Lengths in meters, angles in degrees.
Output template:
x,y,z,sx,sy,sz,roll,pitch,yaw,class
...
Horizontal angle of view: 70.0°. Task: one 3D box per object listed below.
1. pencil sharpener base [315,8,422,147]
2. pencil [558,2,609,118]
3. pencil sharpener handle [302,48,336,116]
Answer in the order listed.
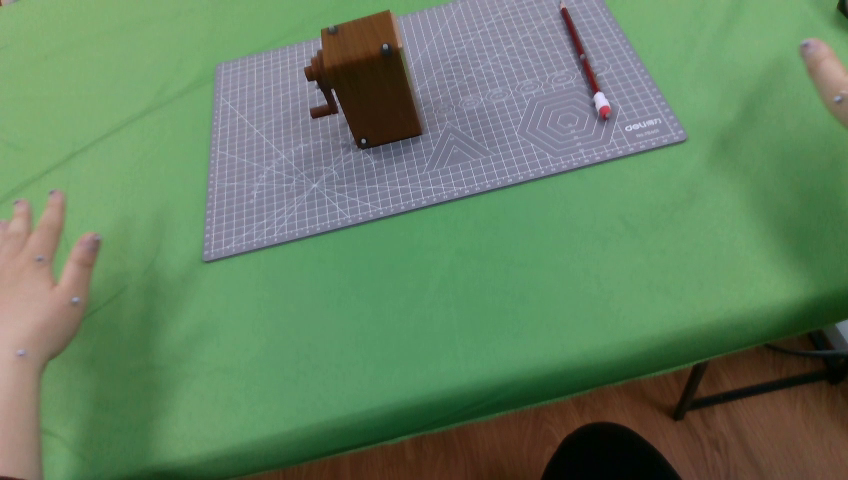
x,y,z,sx,sy,sz,roll,pitch,yaw,class
-0.051,-0.150,0.574,0.076,0.108,0.060,-15,53,3,pencil sharpener base
0.158,-0.190,0.616,0.012,0.012,0.192,-11,52,6,pencil
-0.103,-0.144,0.566,0.030,0.068,0.035,-15,55,3,pencil sharpener handle
